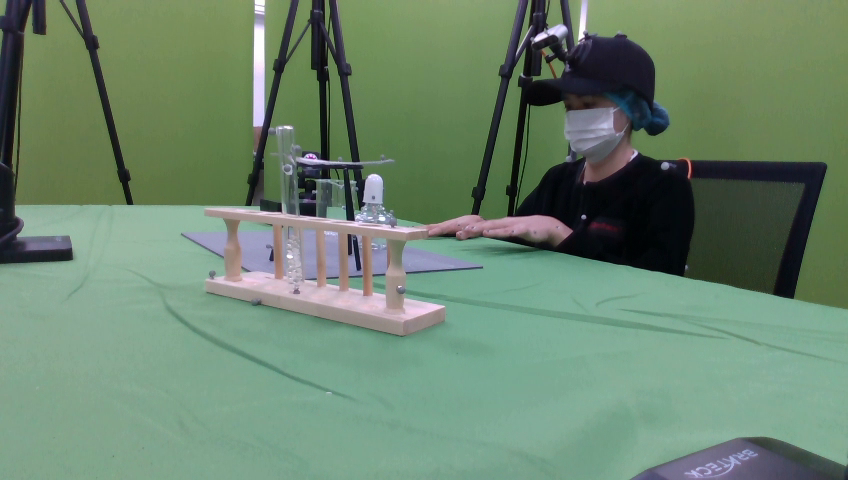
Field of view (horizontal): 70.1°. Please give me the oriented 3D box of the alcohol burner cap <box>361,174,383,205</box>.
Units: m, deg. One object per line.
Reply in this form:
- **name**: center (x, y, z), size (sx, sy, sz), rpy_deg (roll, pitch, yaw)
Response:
- **alcohol burner cap**: center (-0.080, -0.078, 0.944), size (0.034, 0.048, 0.034), rpy_deg (5, 8, 0)

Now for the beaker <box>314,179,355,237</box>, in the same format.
- **beaker**: center (-0.162, -0.058, 1.094), size (0.074, 0.100, 0.083), rpy_deg (0, 9, -21)

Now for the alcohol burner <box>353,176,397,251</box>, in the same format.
- **alcohol burner**: center (-0.082, -0.043, 0.950), size (0.078, 0.119, 0.078), rpy_deg (1, 8, 0)

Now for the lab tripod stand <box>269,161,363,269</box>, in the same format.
- **lab tripod stand**: center (-0.125, -0.036, 0.794), size (0.148, 0.131, 0.148), rpy_deg (5, 7, 0)

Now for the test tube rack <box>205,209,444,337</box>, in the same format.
- **test tube rack**: center (-0.100, 0.021, 0.565), size (0.241, 0.085, 0.067), rpy_deg (7, 8, 32)

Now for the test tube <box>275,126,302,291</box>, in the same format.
- **test tube**: center (-0.123, -0.028, 0.551), size (0.017, 0.150, 0.017), rpy_deg (-2, 7, 1)

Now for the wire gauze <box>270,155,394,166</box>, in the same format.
- **wire gauze**: center (-0.121, -0.102, 0.785), size (0.122, 0.011, 0.124), rpy_deg (-3, 10, -38)
